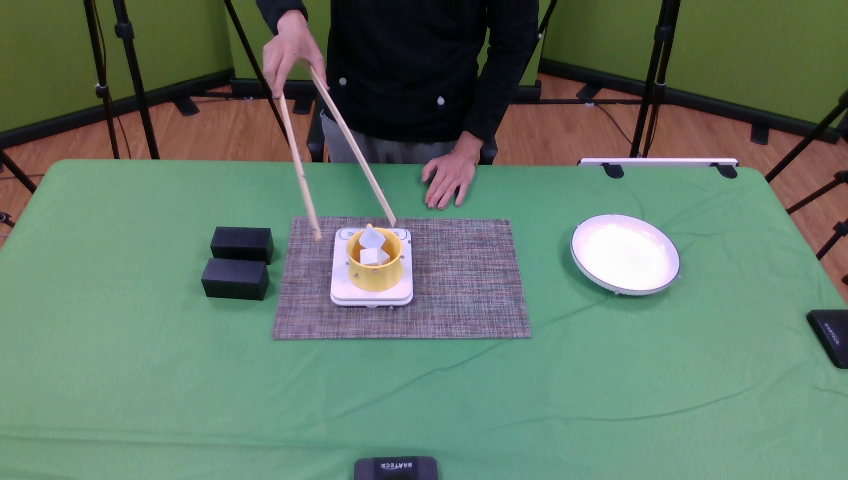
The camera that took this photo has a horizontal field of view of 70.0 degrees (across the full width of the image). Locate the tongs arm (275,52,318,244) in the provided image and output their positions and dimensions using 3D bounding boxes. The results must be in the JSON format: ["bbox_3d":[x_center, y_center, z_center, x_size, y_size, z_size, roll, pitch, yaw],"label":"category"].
[{"bbox_3d":[-0.210,-0.168,1.039,0.051,0.026,0.382,-11,66,-19],"label":"tongs arm"}]

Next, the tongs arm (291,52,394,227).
[{"bbox_3d":[-0.145,-0.184,1.066,0.028,0.028,0.386,-23,71,-20],"label":"tongs arm"}]

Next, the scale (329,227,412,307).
[{"bbox_3d":[-0.099,0.042,1.139,0.149,0.032,0.199,1,46,-4],"label":"scale"}]

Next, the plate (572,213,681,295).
[{"bbox_3d":[0.392,0.030,1.189,0.208,0.039,0.206,2,46,-2],"label":"plate"}]

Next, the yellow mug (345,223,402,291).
[{"bbox_3d":[-0.092,0.022,1.093,0.100,0.064,0.130,-7,46,-10],"label":"yellow mug"}]
